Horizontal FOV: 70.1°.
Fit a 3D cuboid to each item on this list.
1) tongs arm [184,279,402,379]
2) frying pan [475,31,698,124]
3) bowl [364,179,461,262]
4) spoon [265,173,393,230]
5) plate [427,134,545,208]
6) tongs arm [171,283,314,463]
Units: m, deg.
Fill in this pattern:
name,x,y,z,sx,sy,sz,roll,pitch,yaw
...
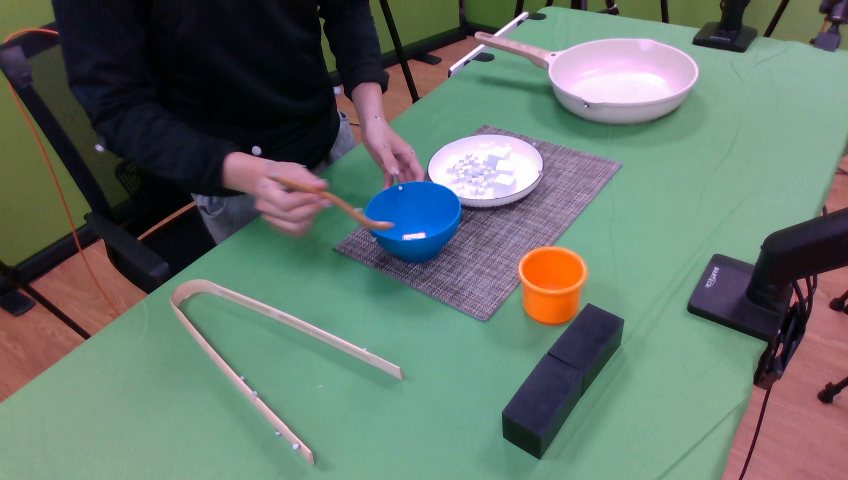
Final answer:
name,x,y,z,sx,sy,sz,roll,pitch,yaw
tongs arm,-0.194,0.119,0.852,0.385,0.028,0.028,17,49,26
frying pan,0.320,-0.371,1.290,0.485,0.103,0.307,28,50,23
bowl,-0.014,-0.020,0.943,0.151,0.077,0.150,-4,41,4
spoon,-0.115,-0.048,0.761,0.041,0.195,0.021,17,82,49
plate,0.110,-0.119,1.073,0.207,0.039,0.206,-4,41,4
tongs arm,-0.247,0.161,0.806,0.381,0.026,0.051,29,51,36
